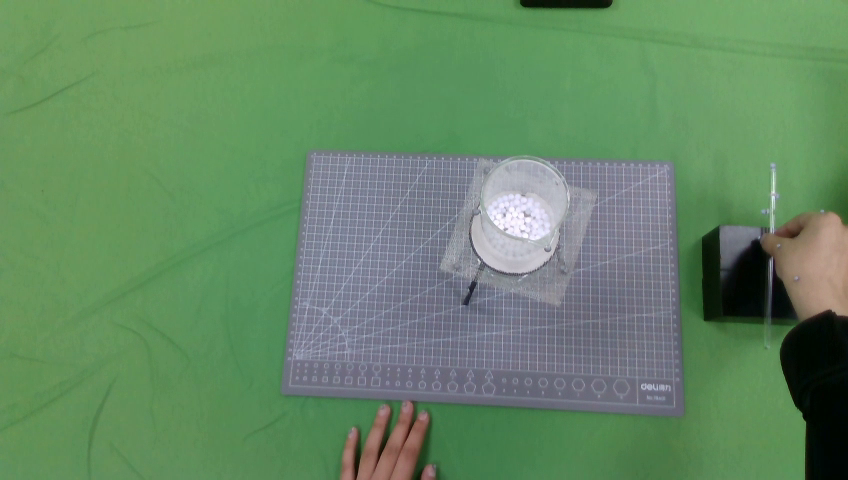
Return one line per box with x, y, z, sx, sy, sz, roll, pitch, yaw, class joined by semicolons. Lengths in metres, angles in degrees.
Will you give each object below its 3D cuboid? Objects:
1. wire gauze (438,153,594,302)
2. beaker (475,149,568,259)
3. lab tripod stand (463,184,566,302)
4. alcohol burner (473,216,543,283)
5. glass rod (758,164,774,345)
0.090;-0.014;0.586;0.121;0.011;0.124;19;76;6;wire gauze
0.085;-0.024;0.540;0.074;0.101;0.083;-25;76;-3;beaker
0.088;0.000;0.651;0.148;0.132;0.147;-1;76;4;lab tripod stand
0.092;0.007;0.659;0.078;0.119;0.077;-1;77;4;alcohol burner
0.369;0.013;0.652;0.008;0.008;0.199;7;81;4;glass rod
